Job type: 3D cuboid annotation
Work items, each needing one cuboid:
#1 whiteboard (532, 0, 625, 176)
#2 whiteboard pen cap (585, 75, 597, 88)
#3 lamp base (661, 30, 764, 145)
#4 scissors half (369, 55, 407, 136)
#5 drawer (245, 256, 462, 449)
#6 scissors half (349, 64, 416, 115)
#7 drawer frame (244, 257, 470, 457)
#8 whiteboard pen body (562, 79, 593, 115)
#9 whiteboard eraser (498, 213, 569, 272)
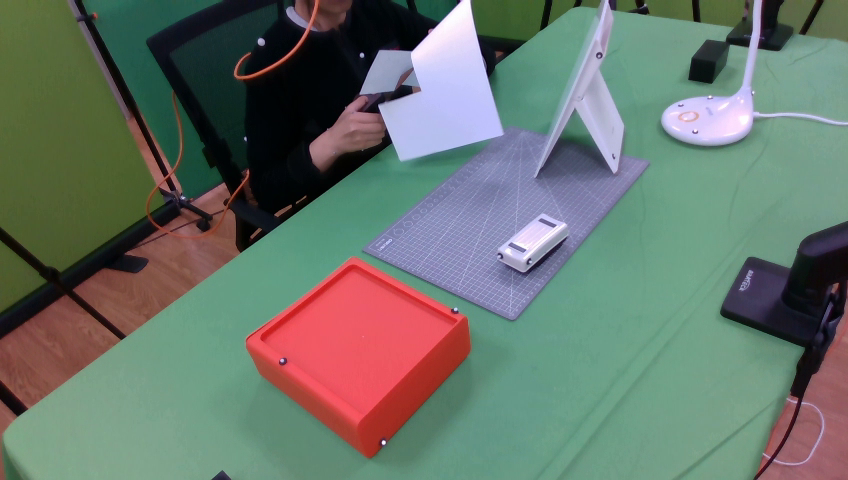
[{"bbox_3d":[0.320,-0.259,1.050,0.144,0.306,0.217,21,45,5],"label":"whiteboard"},{"bbox_3d":[0.362,-0.343,1.310,0.018,0.018,0.033,20,54,30],"label":"whiteboard pen cap"},{"bbox_3d":[0.535,-0.287,1.096,0.179,0.181,0.159,-10,40,-4],"label":"lamp base"},{"bbox_3d":[-0.065,-0.272,1.152,0.040,0.175,0.013,29,34,7],"label":"scissors half"},{"bbox_3d":[-0.089,0.136,0.792,0.210,0.073,0.195,26,51,34],"label":"drawer"},{"bbox_3d":[-0.081,-0.289,1.152,0.174,0.040,0.013,-23,12,33],"label":"scissors half"},{"bbox_3d":[-0.084,0.138,0.788,0.212,0.083,0.202,25,50,33],"label":"drawer frame"},{"bbox_3d":[0.328,-0.306,1.278,0.017,0.017,0.141,20,52,30],"label":"whiteboard pen body"},{"bbox_3d":[0.168,0.006,0.923,0.113,0.042,0.055,-36,48,-28],"label":"whiteboard eraser"}]
